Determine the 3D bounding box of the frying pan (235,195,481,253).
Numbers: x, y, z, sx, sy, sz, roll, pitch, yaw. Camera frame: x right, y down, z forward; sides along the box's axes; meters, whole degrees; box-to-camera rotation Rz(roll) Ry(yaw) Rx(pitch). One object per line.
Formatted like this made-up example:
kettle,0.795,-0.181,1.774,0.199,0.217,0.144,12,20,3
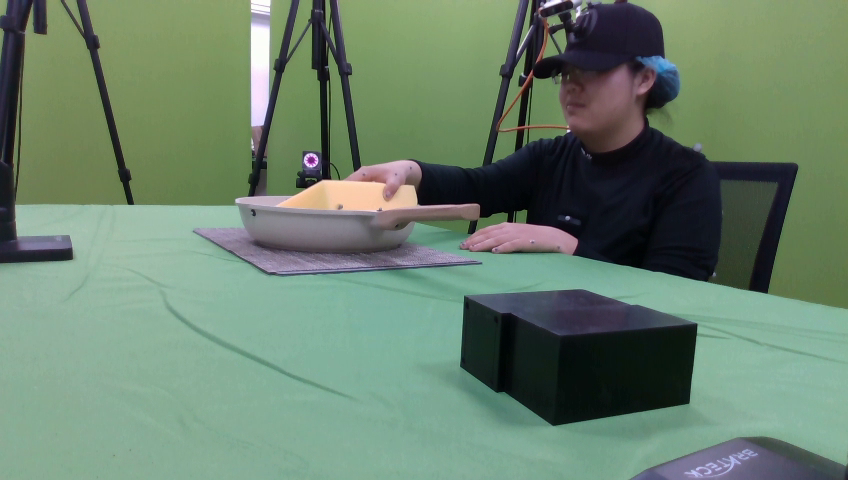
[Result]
frying pan,-0.089,-0.034,0.891,0.308,0.102,0.485,-4,2,-36

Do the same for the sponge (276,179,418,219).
sponge,-0.116,-0.044,0.952,0.118,0.061,0.208,-22,-10,35
